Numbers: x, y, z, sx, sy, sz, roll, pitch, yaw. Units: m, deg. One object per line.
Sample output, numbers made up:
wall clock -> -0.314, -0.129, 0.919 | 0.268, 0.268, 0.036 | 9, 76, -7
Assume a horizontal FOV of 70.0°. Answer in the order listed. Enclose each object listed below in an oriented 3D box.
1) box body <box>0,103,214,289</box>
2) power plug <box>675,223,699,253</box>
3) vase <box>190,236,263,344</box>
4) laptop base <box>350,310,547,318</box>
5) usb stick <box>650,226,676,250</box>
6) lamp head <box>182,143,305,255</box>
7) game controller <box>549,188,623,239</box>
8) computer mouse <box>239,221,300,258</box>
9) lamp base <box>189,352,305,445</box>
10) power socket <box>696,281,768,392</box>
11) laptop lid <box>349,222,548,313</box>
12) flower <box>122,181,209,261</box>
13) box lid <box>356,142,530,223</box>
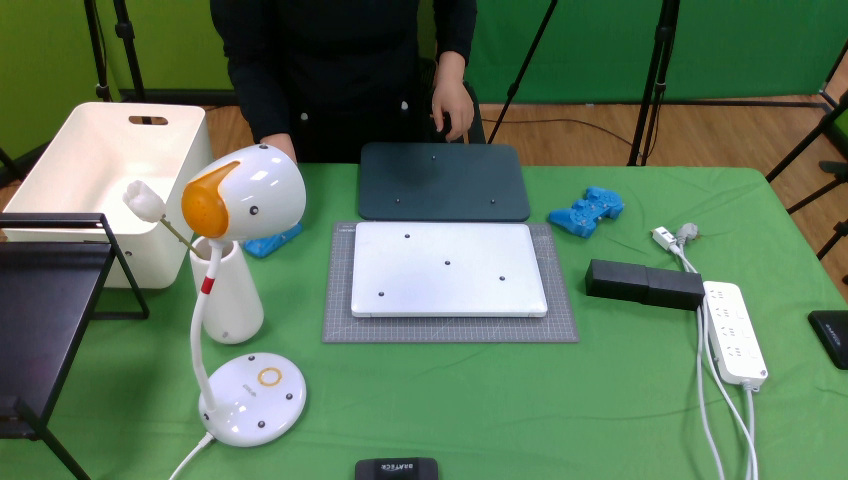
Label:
box body -> -0.563, -0.087, 1.139 | 0.254, 0.161, 0.361 | 2, 46, -3
power plug -> 0.537, 0.000, 1.243 | 0.053, 0.035, 0.072 | 19, 82, -17
vase -> -0.317, 0.081, 0.971 | 0.098, 0.201, 0.097 | 3, 47, -3
laptop base -> 0.041, 0.056, 1.149 | 0.355, 0.023, 0.234 | 0, 43, -4
usb stick -> 0.485, -0.008, 1.238 | 0.021, 0.027, 0.059 | -22, 44, -13
lamp head -> -0.216, -0.044, 0.697 | 0.112, 0.113, 0.123 | 23, 31, 17
game controller -> 0.346, -0.065, 1.272 | 0.155, 0.052, 0.096 | -31, 58, -29
computer mouse -> -0.301, -0.016, 1.179 | 0.062, 0.041, 0.117 | 34, 57, 22
lamp base -> -0.268, 0.196, 0.876 | 0.160, 0.181, 0.179 | 25, 52, 20
power socket -> 0.543, 0.161, 1.077 | 0.072, 0.033, 0.225 | 5, 46, 2
laptop lid -> 0.042, 0.046, 1.142 | 0.357, 0.013, 0.240 | 2, 44, -3
flower -> -0.329, 0.029, 0.905 | 0.038, 0.364, 0.044 | -21, 58, -1
box lid -> 0.040, -0.132, 1.339 | 0.372, 0.015, 0.261 | 0, 46, -4
